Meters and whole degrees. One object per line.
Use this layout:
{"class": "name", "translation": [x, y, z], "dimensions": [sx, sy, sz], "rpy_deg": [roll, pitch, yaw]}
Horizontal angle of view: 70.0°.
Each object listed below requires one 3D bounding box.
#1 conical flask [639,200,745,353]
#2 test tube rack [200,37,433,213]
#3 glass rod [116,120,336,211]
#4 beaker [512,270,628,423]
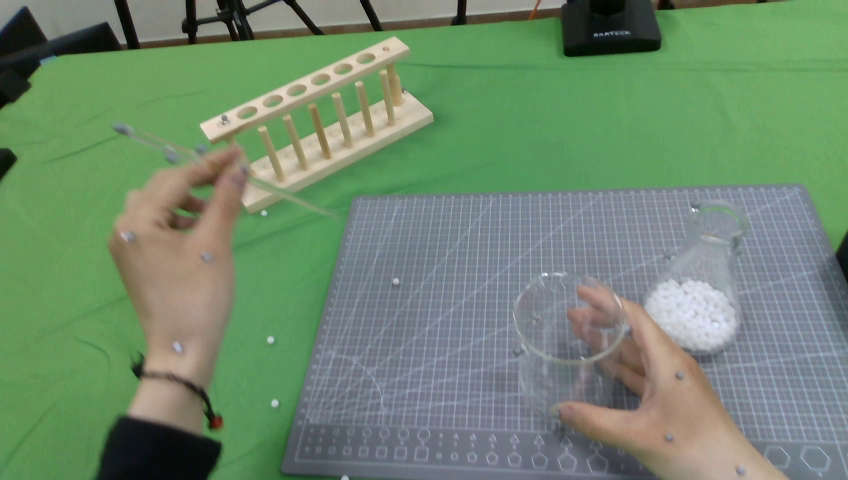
{"class": "conical flask", "translation": [0.208, 0.025, 0.457], "dimensions": [0.075, 0.123, 0.074], "rpy_deg": [-5, 48, 6]}
{"class": "test tube rack", "translation": [-0.113, -0.132, 0.683], "dimensions": [0.242, 0.086, 0.066], "rpy_deg": [-30, 50, -16]}
{"class": "glass rod", "translation": [-0.122, -0.045, 0.422], "dimensions": [0.008, 0.201, 0.008], "rpy_deg": [-6, 76, 28]}
{"class": "beaker", "translation": [0.101, 0.080, 0.442], "dimensions": [0.074, 0.101, 0.083], "rpy_deg": [-19, 47, -7]}
